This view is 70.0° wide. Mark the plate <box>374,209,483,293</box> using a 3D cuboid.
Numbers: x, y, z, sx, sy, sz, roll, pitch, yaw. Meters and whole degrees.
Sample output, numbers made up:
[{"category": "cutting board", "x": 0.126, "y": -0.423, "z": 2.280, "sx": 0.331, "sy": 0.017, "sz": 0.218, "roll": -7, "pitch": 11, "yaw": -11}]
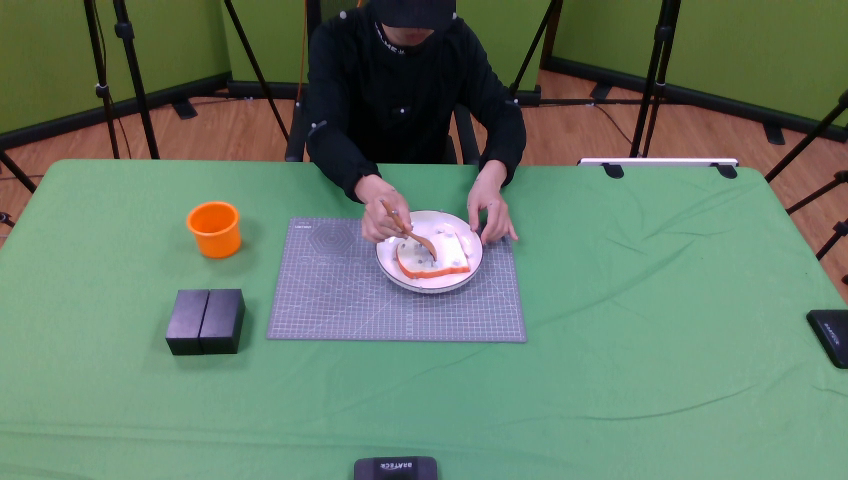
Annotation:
[{"category": "plate", "x": 0.009, "y": 0.024, "z": 1.160, "sx": 0.209, "sy": 0.038, "sz": 0.208, "roll": 2, "pitch": 46, "yaw": -2}]

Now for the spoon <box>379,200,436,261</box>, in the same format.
[{"category": "spoon", "x": -0.027, "y": -0.015, "z": 1.063, "sx": 0.021, "sy": 0.195, "sz": 0.041, "roll": -37, "pitch": 48, "yaw": 10}]

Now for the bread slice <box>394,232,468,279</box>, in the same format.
[{"category": "bread slice", "x": 0.009, "y": 0.031, "z": 1.161, "sx": 0.132, "sy": 0.019, "sz": 0.104, "roll": -9, "pitch": 45, "yaw": -16}]
